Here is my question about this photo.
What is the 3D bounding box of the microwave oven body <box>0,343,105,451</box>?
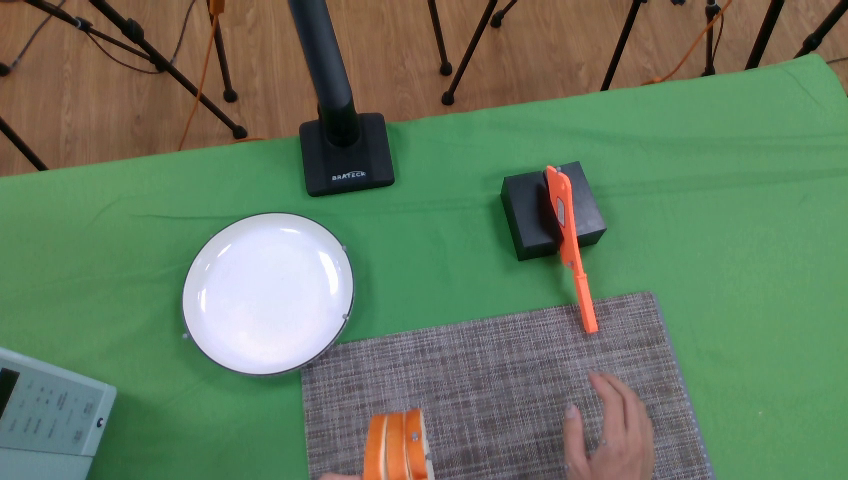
[{"bbox_3d":[-0.554,0.290,0.535,0.326,0.262,0.439,10,69,3],"label":"microwave oven body"}]

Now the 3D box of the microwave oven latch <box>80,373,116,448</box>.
[{"bbox_3d":[-0.375,0.191,0.680,0.030,0.030,0.078,12,70,4],"label":"microwave oven latch"}]

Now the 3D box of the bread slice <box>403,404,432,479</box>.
[{"bbox_3d":[-0.002,0.234,0.600,0.018,0.106,0.135,-9,112,-1],"label":"bread slice"}]

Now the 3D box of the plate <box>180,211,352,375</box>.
[{"bbox_3d":[-0.191,0.066,0.751,0.208,0.039,0.206,0,69,-1],"label":"plate"}]

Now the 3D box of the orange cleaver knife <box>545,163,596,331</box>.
[{"bbox_3d":[0.179,0.007,0.751,0.012,0.077,0.212,-14,99,-7],"label":"orange cleaver knife"}]

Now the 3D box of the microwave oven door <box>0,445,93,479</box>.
[{"bbox_3d":[-0.418,0.352,0.507,0.039,0.245,0.353,10,69,4],"label":"microwave oven door"}]
